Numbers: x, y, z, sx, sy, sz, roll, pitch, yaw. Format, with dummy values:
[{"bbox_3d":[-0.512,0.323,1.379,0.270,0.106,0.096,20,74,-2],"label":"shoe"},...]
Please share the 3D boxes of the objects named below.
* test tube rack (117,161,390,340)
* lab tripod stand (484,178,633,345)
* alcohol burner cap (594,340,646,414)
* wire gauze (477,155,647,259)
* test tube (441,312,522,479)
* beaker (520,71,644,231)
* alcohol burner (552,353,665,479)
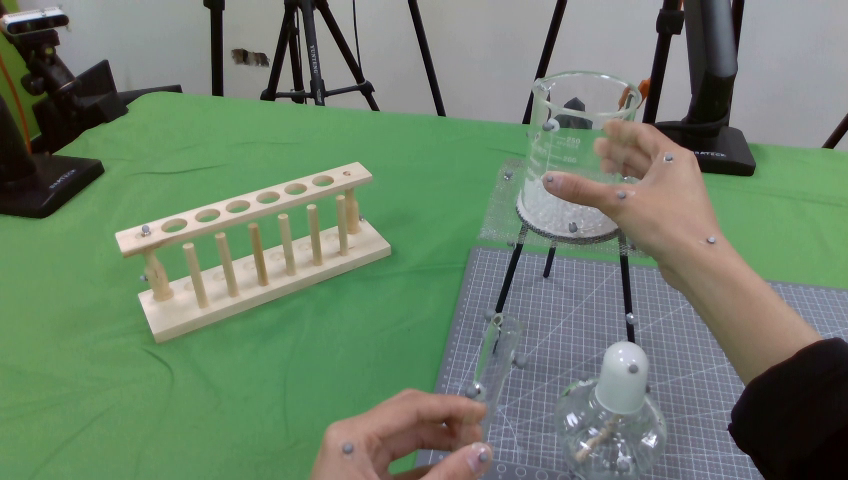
[{"bbox_3d":[-0.156,0.003,0.597,0.243,0.086,0.066,-21,41,-25],"label":"test tube rack"},{"bbox_3d":[0.122,0.025,0.522,0.148,0.132,0.147,1,36,-1],"label":"lab tripod stand"},{"bbox_3d":[0.130,0.087,0.396,0.034,0.048,0.033,-3,36,2],"label":"alcohol burner cap"},{"bbox_3d":[0.113,-0.028,0.482,0.121,0.011,0.124,9,40,12],"label":"wire gauze"},{"bbox_3d":[0.024,0.102,0.316,0.017,0.151,0.017,10,27,-5],"label":"test tube"},{"bbox_3d":[0.110,-0.065,0.450,0.074,0.101,0.083,-23,43,-29],"label":"beaker"},{"bbox_3d":[0.129,0.116,0.417,0.078,0.120,0.077,0,39,0],"label":"alcohol burner"}]
